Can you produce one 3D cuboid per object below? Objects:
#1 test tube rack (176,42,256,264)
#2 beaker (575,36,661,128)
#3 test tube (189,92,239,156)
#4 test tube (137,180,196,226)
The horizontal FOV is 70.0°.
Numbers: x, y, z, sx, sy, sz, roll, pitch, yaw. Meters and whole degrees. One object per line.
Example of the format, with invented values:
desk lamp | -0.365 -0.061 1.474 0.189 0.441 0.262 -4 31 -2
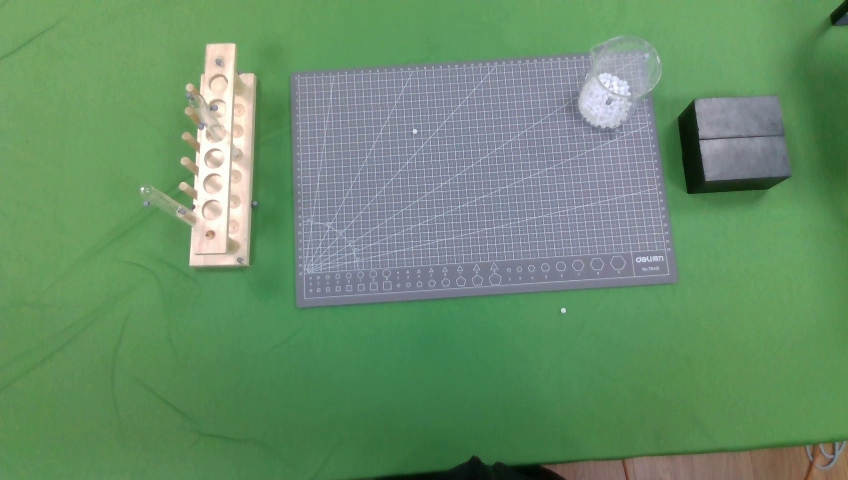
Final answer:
test tube rack | -0.245 -0.098 0.705 0.067 0.085 0.241 -1 79 0
beaker | 0.219 -0.181 0.709 0.084 0.100 0.074 33 80 8
test tube | -0.226 -0.122 0.659 0.017 0.150 0.017 1 78 -4
test tube | -0.264 -0.035 0.646 0.017 0.151 0.017 0 77 2
